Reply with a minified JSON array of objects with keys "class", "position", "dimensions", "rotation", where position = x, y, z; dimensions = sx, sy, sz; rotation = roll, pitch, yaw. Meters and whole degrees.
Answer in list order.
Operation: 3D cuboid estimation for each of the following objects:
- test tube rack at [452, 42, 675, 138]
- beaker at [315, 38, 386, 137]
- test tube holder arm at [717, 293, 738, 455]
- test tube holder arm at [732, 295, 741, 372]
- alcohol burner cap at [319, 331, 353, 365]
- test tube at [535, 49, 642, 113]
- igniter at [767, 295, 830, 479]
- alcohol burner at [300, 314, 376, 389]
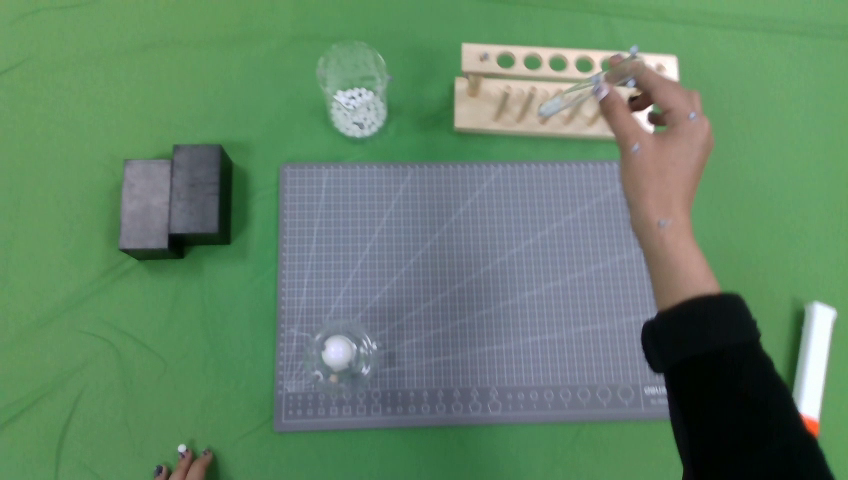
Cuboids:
[{"class":"test tube rack","position":[0.157,-0.173,0.709],"dimensions":[0.242,0.085,0.066],"rotation":[3,77,-3]},{"class":"beaker","position":[-0.080,-0.164,0.683],"dimensions":[0.074,0.100,0.083],"rotation":[1,77,-3]},{"class":"test tube holder arm","position":[0.340,0.148,0.678],"dimensions":[0.013,0.015,0.177],"rotation":[18,74,-31]},{"class":"test tube holder arm","position":[0.352,0.106,0.691],"dimensions":[0.010,0.015,0.087],"rotation":[19,74,-31]},{"class":"alcohol burner cap","position":[-0.085,0.103,0.573],"dimensions":[0.034,0.048,0.033],"rotation":[1,82,-4]},{"class":"test tube","position":[0.133,-0.131,0.515],"dimensions":[0.017,0.149,0.017],"rotation":[0,89,-17]},{"class":"igniter","position":[0.412,0.195,0.669],"dimensions":[0.057,0.025,0.275],"rotation":[21,76,-10]},{"class":"alcohol burner","position":[-0.087,0.110,0.608],"dimensions":[0.078,0.119,0.077],"rotation":[1,75,-5]}]
